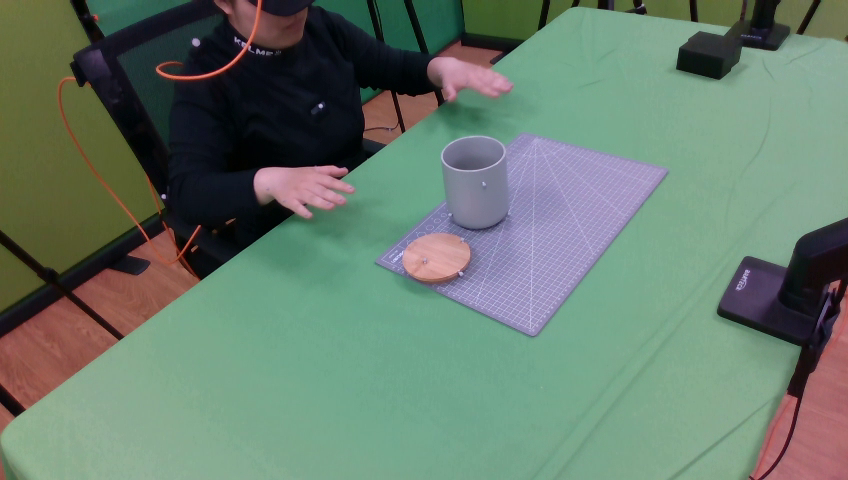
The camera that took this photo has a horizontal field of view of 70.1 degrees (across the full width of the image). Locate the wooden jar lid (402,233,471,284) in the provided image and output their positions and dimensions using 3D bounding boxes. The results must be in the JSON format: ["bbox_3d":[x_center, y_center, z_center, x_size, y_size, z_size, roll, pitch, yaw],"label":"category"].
[{"bbox_3d":[0.020,0.030,0.941,0.108,0.021,0.108,-4,40,4],"label":"wooden jar lid"}]

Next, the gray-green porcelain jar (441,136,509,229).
[{"bbox_3d":[0.086,-0.090,0.988,0.106,0.127,0.105,-5,40,5],"label":"gray-green porcelain jar"}]
